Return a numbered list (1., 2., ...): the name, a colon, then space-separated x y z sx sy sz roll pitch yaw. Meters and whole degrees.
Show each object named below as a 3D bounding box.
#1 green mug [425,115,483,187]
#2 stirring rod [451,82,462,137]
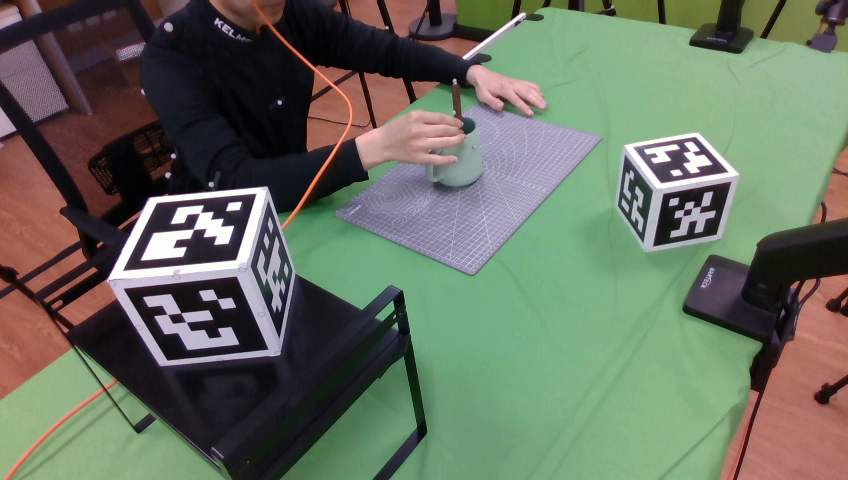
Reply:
1. green mug: 0.047 -0.148 1.068 0.092 0.105 0.125 24 50 32
2. stirring rod: 0.059 -0.183 1.028 0.014 0.177 0.005 -24 38 -23
